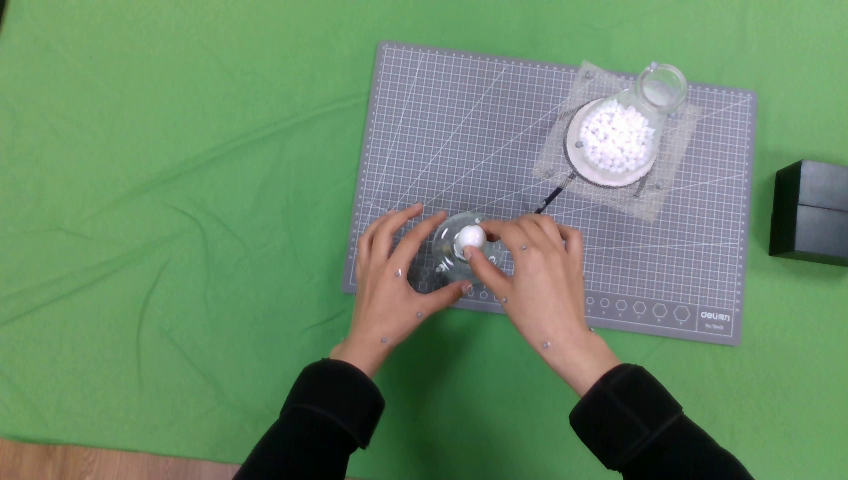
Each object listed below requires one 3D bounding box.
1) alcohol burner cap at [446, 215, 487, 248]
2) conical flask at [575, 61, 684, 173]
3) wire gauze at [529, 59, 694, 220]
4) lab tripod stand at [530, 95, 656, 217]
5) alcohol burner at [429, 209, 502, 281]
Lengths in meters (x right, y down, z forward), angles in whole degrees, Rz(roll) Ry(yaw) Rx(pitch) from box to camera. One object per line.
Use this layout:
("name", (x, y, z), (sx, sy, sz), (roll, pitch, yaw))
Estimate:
("alcohol burner cap", (0.044, -0.008, 0.598), (0.034, 0.047, 0.034), (-1, 92, -17))
("conical flask", (0.176, -0.106, 0.510), (0.075, 0.122, 0.075), (0, 82, 0))
("wire gauze", (0.178, -0.094, 0.567), (0.121, 0.011, 0.125), (25, 81, 2))
("lab tripod stand", (0.172, -0.088, 0.633), (0.148, 0.132, 0.148), (0, 82, 1))
("alcohol burner", (0.044, 0.004, 0.630), (0.078, 0.119, 0.077), (0, 85, 0))
